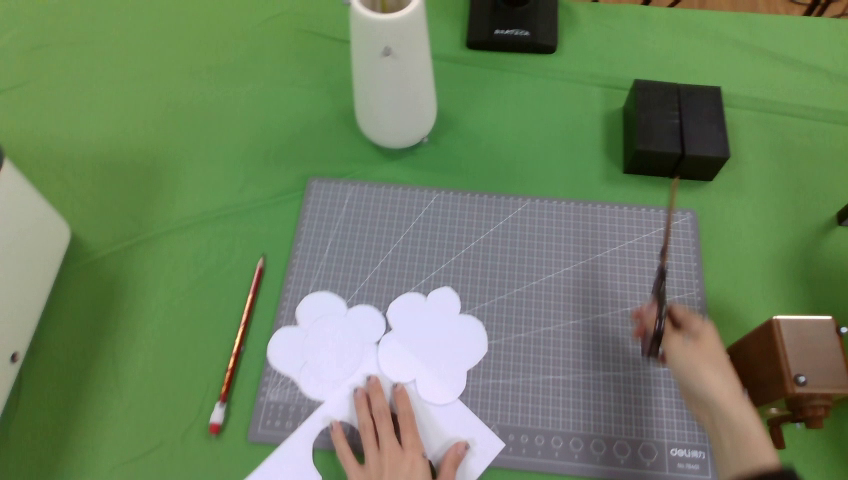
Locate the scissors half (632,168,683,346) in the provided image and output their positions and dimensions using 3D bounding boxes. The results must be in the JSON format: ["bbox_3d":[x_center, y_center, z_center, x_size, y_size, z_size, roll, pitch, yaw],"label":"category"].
[{"bbox_3d":[0.225,0.017,0.579,0.012,0.040,0.175,14,96,14],"label":"scissors half"}]

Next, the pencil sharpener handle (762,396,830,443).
[{"bbox_3d":[0.324,0.158,0.528,0.036,0.068,0.030,7,64,-12],"label":"pencil sharpener handle"}]

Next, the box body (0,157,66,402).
[{"bbox_3d":[-0.529,0.088,0.547,0.254,0.161,0.361,5,64,3],"label":"box body"}]

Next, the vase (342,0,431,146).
[{"bbox_3d":[-0.042,-0.192,0.661,0.098,0.201,0.097,-1,63,1],"label":"vase"}]

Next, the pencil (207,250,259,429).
[{"bbox_3d":[-0.194,0.097,0.628,0.012,0.012,0.192,6,63,4],"label":"pencil"}]

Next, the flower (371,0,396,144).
[{"bbox_3d":[-0.049,-0.242,0.592,0.044,0.365,0.038,-2,46,3],"label":"flower"}]

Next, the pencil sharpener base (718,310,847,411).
[{"bbox_3d":[0.329,0.118,0.562,0.061,0.108,0.076,1,64,1],"label":"pencil sharpener base"}]

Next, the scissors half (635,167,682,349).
[{"bbox_3d":[0.221,0.015,0.559,0.013,0.040,0.174,14,80,8],"label":"scissors half"}]
